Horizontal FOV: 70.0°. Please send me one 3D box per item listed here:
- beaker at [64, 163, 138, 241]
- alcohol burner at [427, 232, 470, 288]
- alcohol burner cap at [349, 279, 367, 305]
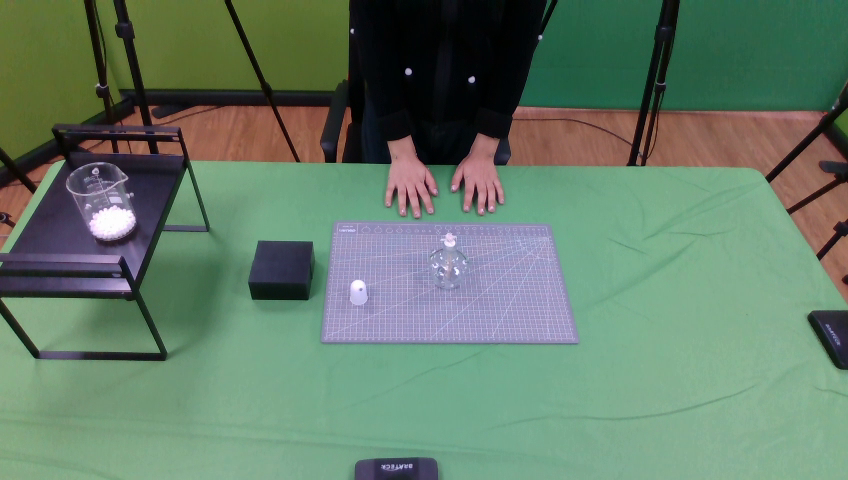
[{"bbox_3d":[-0.478,-0.055,0.910,0.084,0.101,0.073,-9,48,-13],"label":"beaker"},{"bbox_3d":[0.045,0.032,1.099,0.078,0.120,0.077,0,46,0],"label":"alcohol burner"},{"bbox_3d":[-0.118,0.090,1.082,0.034,0.048,0.033,1,47,-1],"label":"alcohol burner cap"}]
